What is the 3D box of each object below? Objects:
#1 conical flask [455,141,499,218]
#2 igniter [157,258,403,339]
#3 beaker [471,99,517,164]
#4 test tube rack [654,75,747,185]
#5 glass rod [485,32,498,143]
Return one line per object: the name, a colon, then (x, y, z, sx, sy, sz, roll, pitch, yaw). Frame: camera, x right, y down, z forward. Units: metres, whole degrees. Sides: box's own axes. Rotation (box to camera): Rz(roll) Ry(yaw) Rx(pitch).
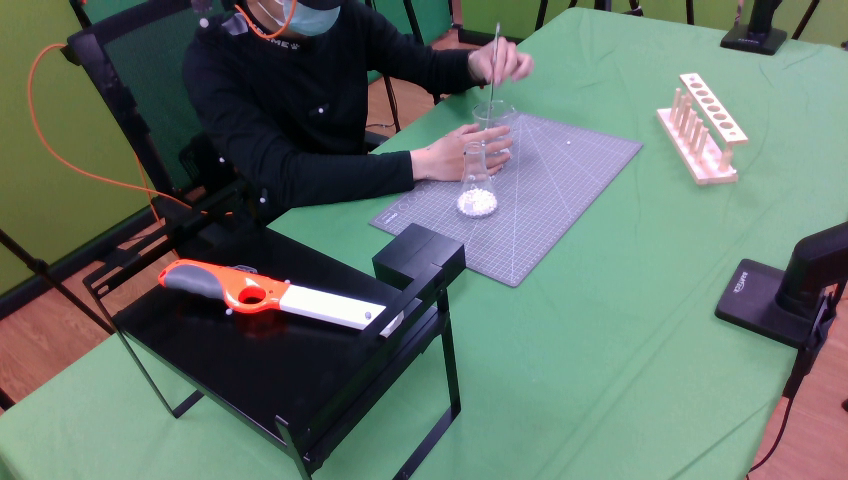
conical flask: (0.085, -0.103, 0.999, 0.075, 0.122, 0.075, -4, 40, 4)
igniter: (-0.157, 0.059, 0.638, 0.275, 0.025, 0.057, 11, 43, 14)
beaker: (0.130, -0.200, 1.124, 0.084, 0.101, 0.073, 1, 41, 8)
test tube rack: (0.491, -0.205, 1.092, 0.067, 0.085, 0.241, -5, 40, 3)
glass rod: (0.120, -0.270, 1.086, 0.008, 0.200, 0.008, 2, 30, -1)
